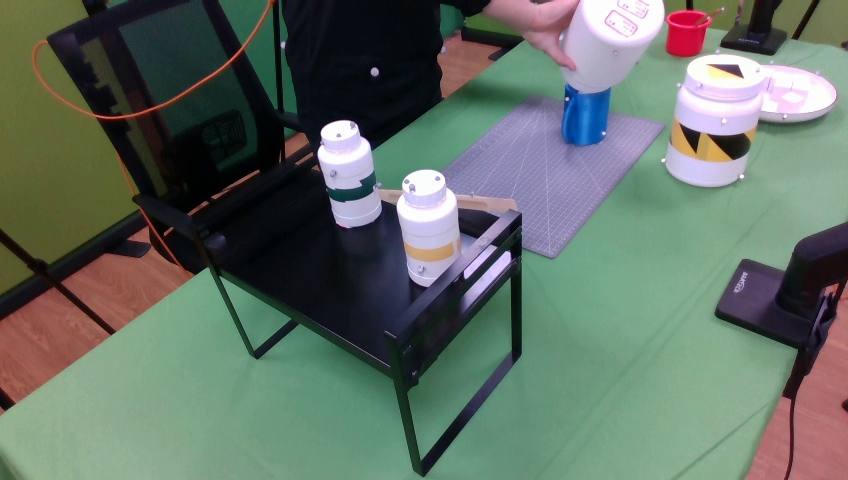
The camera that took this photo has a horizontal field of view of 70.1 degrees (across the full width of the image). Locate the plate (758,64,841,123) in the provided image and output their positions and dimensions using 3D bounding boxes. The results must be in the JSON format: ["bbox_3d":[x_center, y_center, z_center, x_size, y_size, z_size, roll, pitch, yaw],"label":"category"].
[{"bbox_3d":[0.694,-0.283,1.189,0.207,0.039,0.206,-4,40,4],"label":"plate"}]

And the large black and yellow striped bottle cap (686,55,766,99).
[{"bbox_3d":[0.474,-0.258,0.952,0.115,0.019,0.114,-5,41,5],"label":"large black and yellow striped bottle cap"}]

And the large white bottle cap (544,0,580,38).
[{"bbox_3d":[0.297,-0.439,1.204,0.114,0.115,0.018,0,77,9],"label":"large white bottle cap"}]

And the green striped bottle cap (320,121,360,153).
[{"bbox_3d":[-0.097,-0.120,0.699,0.044,0.020,0.044,-3,40,3],"label":"green striped bottle cap"}]

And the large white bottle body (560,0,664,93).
[{"bbox_3d":[0.304,-0.337,1.014,0.131,0.185,0.130,0,77,-2],"label":"large white bottle body"}]

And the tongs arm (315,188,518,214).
[{"bbox_3d":[-0.028,-0.060,0.988,0.382,0.027,0.051,9,45,36],"label":"tongs arm"}]

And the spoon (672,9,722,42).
[{"bbox_3d":[0.606,-0.476,1.345,0.042,0.021,0.193,-6,-3,-2],"label":"spoon"}]

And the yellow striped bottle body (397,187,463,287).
[{"bbox_3d":[0.007,-0.013,0.638,0.063,0.121,0.062,-5,41,4],"label":"yellow striped bottle body"}]

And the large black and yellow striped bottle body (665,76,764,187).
[{"bbox_3d":[0.482,-0.196,1.008,0.131,0.185,0.130,-4,41,4],"label":"large black and yellow striped bottle body"}]

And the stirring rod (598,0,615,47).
[{"bbox_3d":[0.437,-0.551,1.462,0.014,0.006,0.175,-11,83,1],"label":"stirring rod"}]

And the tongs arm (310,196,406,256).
[{"bbox_3d":[-0.078,-0.012,0.944,0.028,0.028,0.384,-42,39,-23],"label":"tongs arm"}]

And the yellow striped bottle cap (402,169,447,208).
[{"bbox_3d":[0.000,-0.052,0.605,0.044,0.019,0.044,-5,43,5],"label":"yellow striped bottle cap"}]

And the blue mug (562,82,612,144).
[{"bbox_3d":[0.298,-0.239,1.143,0.117,0.106,0.081,-37,48,-29],"label":"blue mug"}]

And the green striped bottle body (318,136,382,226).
[{"bbox_3d":[-0.090,-0.080,0.733,0.063,0.120,0.063,-5,41,4],"label":"green striped bottle body"}]

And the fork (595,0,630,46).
[{"bbox_3d":[0.479,-0.556,1.452,0.028,0.019,0.207,41,103,40],"label":"fork"}]
